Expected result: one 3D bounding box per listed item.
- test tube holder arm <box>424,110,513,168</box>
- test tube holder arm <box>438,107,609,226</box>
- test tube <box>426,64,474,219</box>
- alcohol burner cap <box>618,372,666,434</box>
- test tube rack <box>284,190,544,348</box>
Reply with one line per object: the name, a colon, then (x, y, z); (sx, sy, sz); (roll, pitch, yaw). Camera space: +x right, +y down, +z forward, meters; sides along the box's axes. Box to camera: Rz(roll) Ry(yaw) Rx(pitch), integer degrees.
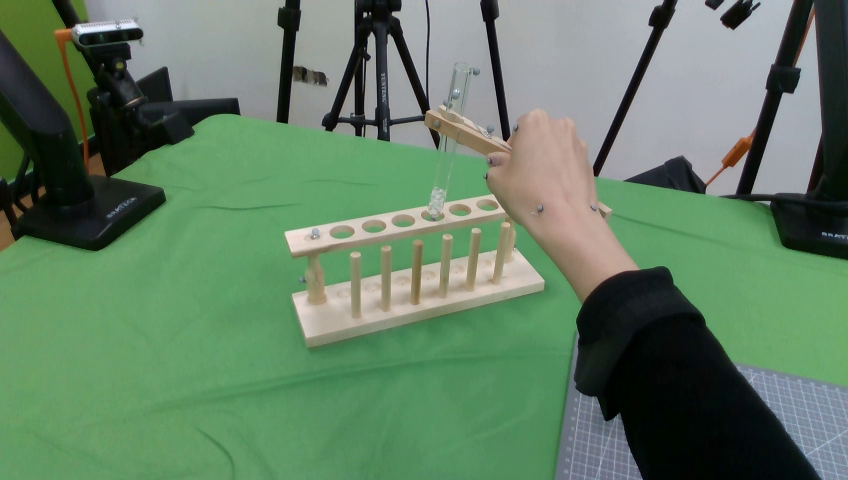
test tube holder arm: (0.037, -0.084, 0.499); (0.087, 0.015, 0.010); (31, 41, 23)
test tube holder arm: (0.073, -0.063, 0.482); (0.013, 0.015, 0.176); (-25, 51, -38)
test tube: (0.020, -0.080, 0.526); (0.017, 0.151, 0.017); (7, 38, -6)
alcohol burner cap: (0.173, 0.124, 0.475); (0.034, 0.048, 0.033); (2, 35, -1)
test tube rack: (-0.002, 0.023, 0.577); (0.243, 0.086, 0.066); (-11, 37, -19)
